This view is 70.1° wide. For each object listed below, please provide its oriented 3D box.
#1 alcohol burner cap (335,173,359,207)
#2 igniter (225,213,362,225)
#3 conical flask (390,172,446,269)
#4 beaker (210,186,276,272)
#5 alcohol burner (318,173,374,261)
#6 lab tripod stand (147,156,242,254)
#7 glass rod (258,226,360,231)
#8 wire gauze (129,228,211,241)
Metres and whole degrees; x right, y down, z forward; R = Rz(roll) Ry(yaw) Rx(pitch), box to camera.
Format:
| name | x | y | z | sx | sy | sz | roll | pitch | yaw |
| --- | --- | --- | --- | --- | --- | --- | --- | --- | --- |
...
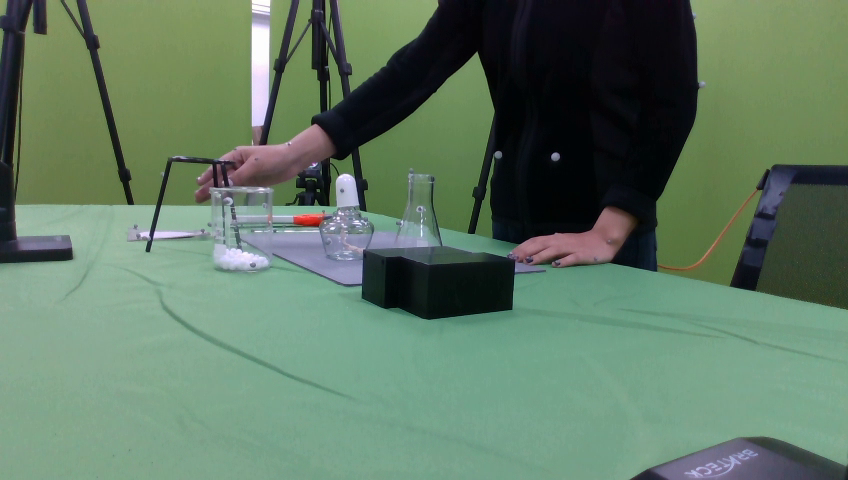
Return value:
| name | x | y | z | sx | sy | sz | roll | pitch | yaw |
| --- | --- | --- | --- | --- | --- | --- | --- | --- | --- |
| alcohol burner cap | -0.108 | -0.068 | 0.829 | 0.034 | 0.048 | 0.034 | -7 | 4 | 1 |
| igniter | -0.257 | -0.042 | 1.221 | 0.278 | 0.025 | 0.057 | -2 | -2 | -32 |
| conical flask | -0.006 | -0.027 | 0.790 | 0.075 | 0.122 | 0.075 | 2 | 7 | 0 |
| beaker | -0.224 | -0.014 | 0.738 | 0.084 | 0.100 | 0.074 | 4 | 7 | 16 |
| alcohol burner | -0.107 | -0.032 | 0.833 | 0.078 | 0.119 | 0.078 | 1 | 6 | 0 |
| lab tripod stand | -0.310 | -0.050 | 0.858 | 0.148 | 0.131 | 0.148 | 4 | 6 | 0 |
| glass rod | -0.216 | -0.022 | 1.152 | 0.201 | 0.008 | 0.008 | -2 | 8 | -28 |
| wire gauze | -0.419 | -0.010 | 0.999 | 0.122 | 0.011 | 0.124 | 0 | 6 | -25 |
